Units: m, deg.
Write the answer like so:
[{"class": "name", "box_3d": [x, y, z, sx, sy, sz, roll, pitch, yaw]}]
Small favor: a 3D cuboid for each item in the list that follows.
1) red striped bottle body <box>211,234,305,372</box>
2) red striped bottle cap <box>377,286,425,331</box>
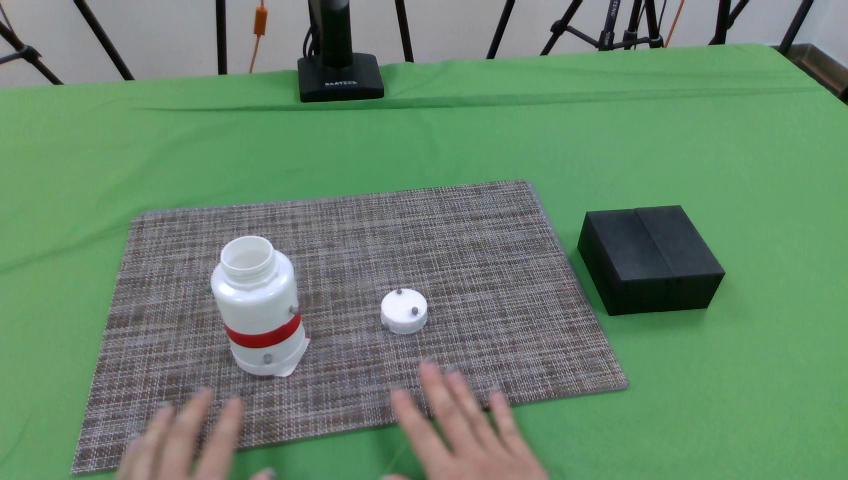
[{"class": "red striped bottle body", "box_3d": [-0.136, 0.051, 0.500, 0.063, 0.121, 0.062, 1, 44, -1]}, {"class": "red striped bottle cap", "box_3d": [-0.021, 0.063, 0.567, 0.044, 0.018, 0.044, 6, 41, -5]}]
